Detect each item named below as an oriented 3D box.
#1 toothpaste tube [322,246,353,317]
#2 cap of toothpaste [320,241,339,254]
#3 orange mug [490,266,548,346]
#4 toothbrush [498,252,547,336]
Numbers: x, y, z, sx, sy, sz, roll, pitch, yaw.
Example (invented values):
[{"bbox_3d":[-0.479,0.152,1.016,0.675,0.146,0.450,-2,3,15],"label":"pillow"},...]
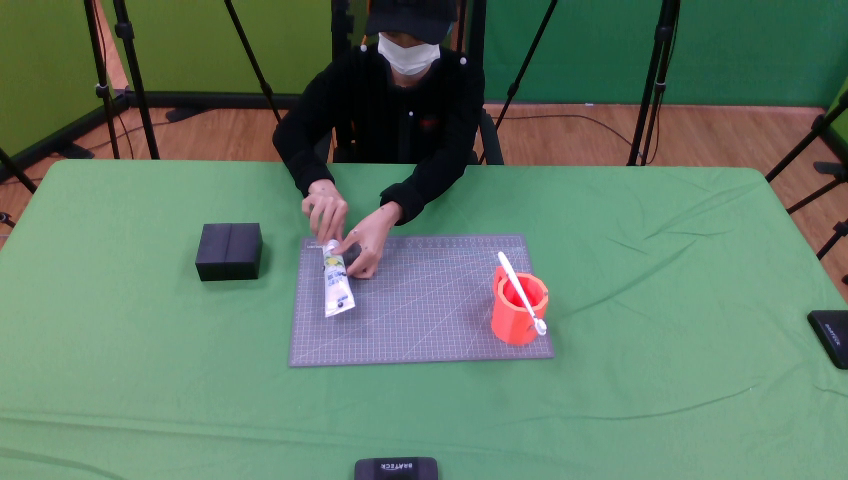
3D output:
[{"bbox_3d":[-0.162,0.069,1.082,0.055,0.035,0.164,-26,41,6],"label":"toothpaste tube"},{"bbox_3d":[-0.177,0.018,1.140,0.037,0.037,0.011,-8,38,-13],"label":"cap of toothpaste"},{"bbox_3d":[0.155,0.107,1.051,0.083,0.101,0.125,-15,53,-18],"label":"orange mug"},{"bbox_3d":[0.160,0.083,1.001,0.014,0.017,0.180,-14,48,-12],"label":"toothbrush"}]
